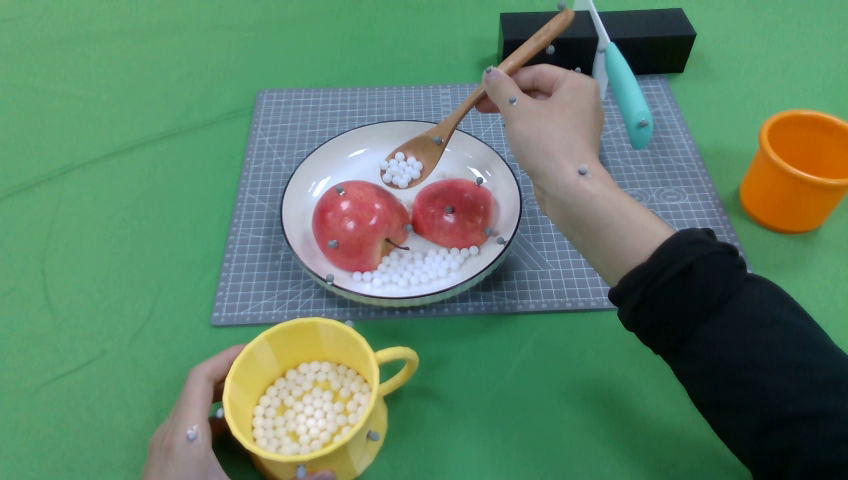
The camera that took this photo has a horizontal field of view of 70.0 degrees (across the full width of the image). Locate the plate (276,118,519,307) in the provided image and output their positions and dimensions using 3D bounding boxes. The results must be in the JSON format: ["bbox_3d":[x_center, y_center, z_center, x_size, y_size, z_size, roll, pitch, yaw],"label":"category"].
[{"bbox_3d":[-0.023,-0.026,0.533,0.209,0.038,0.207,0,52,1],"label":"plate"}]

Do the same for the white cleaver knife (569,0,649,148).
[{"bbox_3d":[0.188,-0.190,0.640,0.021,0.066,0.283,-5,48,3],"label":"white cleaver knife"}]

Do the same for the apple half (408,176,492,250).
[{"bbox_3d":[0.022,-0.032,0.528,0.081,0.033,0.080,0,55,0],"label":"apple half"}]

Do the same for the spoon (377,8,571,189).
[{"bbox_3d":[0.037,-0.108,0.471,0.194,0.022,0.041,-42,62,18],"label":"spoon"}]

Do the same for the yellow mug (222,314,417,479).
[{"bbox_3d":[-0.065,0.104,0.417,0.131,0.064,0.099,-20,55,-16],"label":"yellow mug"}]

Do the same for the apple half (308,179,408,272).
[{"bbox_3d":[-0.057,-0.021,0.509,0.074,0.054,0.081,36,61,28],"label":"apple half"}]
